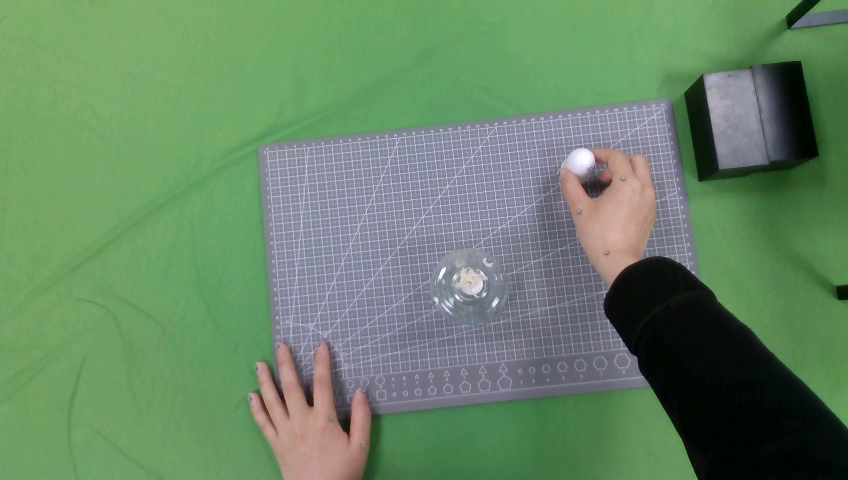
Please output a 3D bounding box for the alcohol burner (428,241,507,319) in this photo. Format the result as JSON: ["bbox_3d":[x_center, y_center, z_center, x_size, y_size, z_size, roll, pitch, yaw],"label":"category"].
[{"bbox_3d":[0.042,0.038,0.581,0.078,0.119,0.077,0,84,3],"label":"alcohol burner"}]

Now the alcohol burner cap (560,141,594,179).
[{"bbox_3d":[0.160,-0.085,0.625,0.034,0.048,0.033,-1,80,4],"label":"alcohol burner cap"}]
